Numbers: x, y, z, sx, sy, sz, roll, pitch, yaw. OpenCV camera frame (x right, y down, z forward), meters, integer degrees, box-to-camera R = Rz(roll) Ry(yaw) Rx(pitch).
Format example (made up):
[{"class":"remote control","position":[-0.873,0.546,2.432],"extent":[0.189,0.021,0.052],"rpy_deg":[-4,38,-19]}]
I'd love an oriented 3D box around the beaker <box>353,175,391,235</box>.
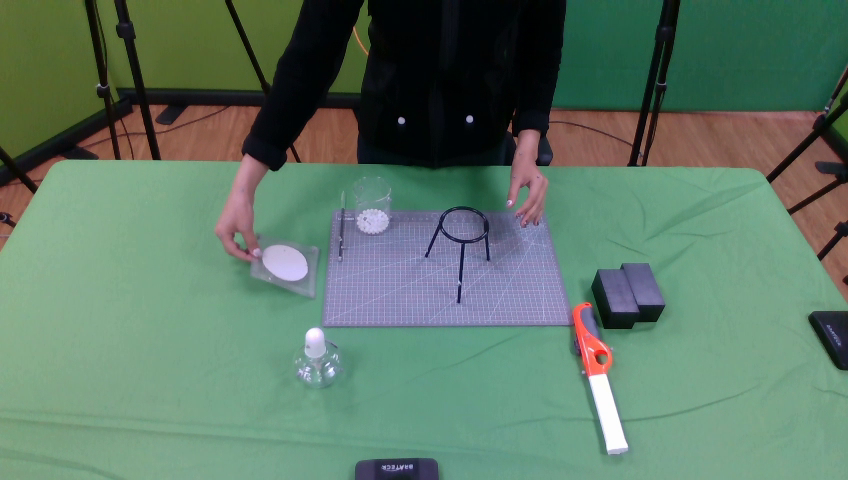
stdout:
[{"class":"beaker","position":[-0.104,-0.065,1.196],"extent":[0.074,0.101,0.084],"rpy_deg":[24,50,18]}]

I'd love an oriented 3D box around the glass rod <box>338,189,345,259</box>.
[{"class":"glass rod","position":[-0.166,-0.037,1.226],"extent":[0.008,0.008,0.198],"rpy_deg":[-1,47,-4]}]

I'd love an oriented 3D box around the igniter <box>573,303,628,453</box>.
[{"class":"igniter","position":[0.288,0.217,1.006],"extent":[0.057,0.025,0.274],"rpy_deg":[-10,46,8]}]

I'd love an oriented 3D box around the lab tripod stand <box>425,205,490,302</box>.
[{"class":"lab tripod stand","position":[0.069,0.017,1.105],"extent":[0.148,0.132,0.147],"rpy_deg":[3,47,-3]}]

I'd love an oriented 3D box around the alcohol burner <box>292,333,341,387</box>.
[{"class":"alcohol burner","position":[-0.170,0.179,0.950],"extent":[0.078,0.120,0.077],"rpy_deg":[2,48,-2]}]

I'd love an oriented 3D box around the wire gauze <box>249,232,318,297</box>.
[{"class":"wire gauze","position":[-0.255,0.041,1.112],"extent":[0.125,0.011,0.120],"rpy_deg":[20,38,-22]}]

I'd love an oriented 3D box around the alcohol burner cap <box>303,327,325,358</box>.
[{"class":"alcohol burner cap","position":[-0.169,0.154,0.924],"extent":[0.034,0.048,0.033],"rpy_deg":[5,42,-4]}]
